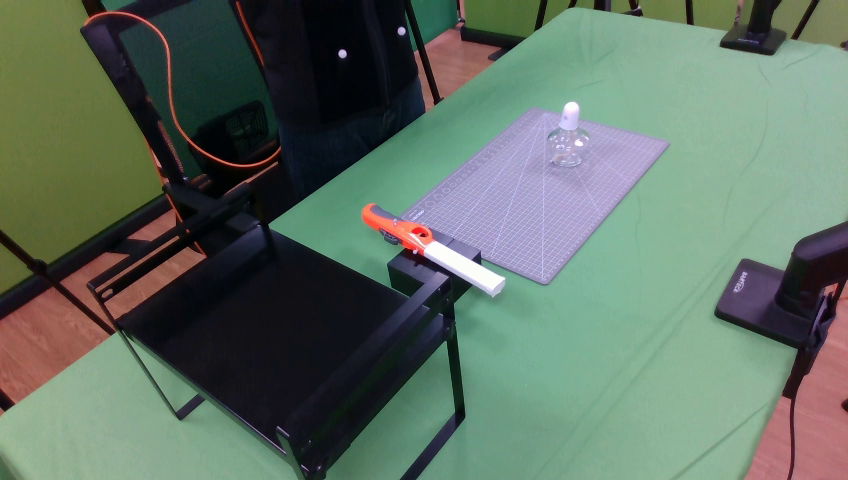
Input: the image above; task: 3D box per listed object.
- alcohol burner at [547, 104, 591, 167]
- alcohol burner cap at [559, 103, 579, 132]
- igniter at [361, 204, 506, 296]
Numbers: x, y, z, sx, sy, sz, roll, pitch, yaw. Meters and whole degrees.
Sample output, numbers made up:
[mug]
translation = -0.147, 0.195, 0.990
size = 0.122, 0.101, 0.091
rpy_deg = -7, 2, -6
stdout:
[alcohol burner]
translation = 0.261, -0.192, 1.087
size = 0.078, 0.119, 0.077
rpy_deg = -5, 42, 5
[alcohol burner cap]
translation = 0.256, -0.218, 1.063
size = 0.034, 0.048, 0.033
rpy_deg = 0, 43, 0
[igniter]
translation = 0.003, 0.008, 0.889
size = 0.274, 0.025, 0.057
rpy_deg = 29, 49, 33
